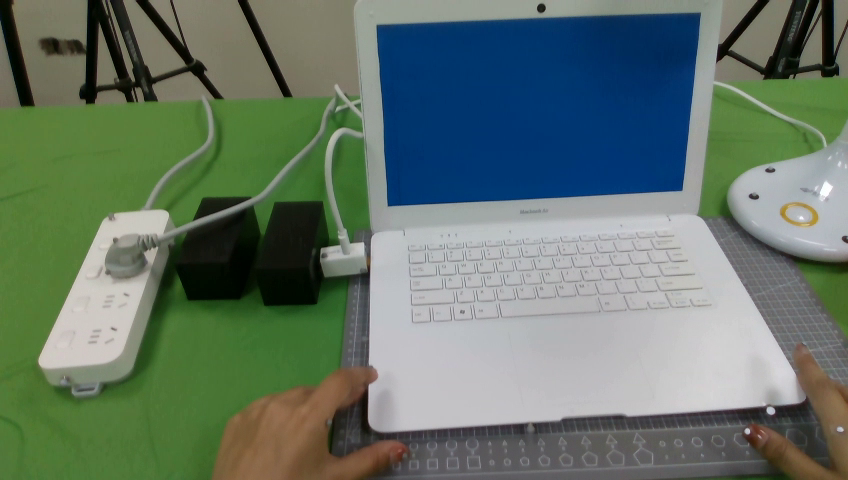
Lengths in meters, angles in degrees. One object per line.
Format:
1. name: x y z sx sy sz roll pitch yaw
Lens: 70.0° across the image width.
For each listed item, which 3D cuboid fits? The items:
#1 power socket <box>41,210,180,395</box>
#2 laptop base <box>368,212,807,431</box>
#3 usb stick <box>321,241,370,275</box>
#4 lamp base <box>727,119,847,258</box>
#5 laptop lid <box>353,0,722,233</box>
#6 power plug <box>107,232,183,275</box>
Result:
1. power socket: -0.293 0.046 0.584 0.072 0.033 0.224 -4 41 -4
2. laptop base: 0.126 0.063 0.562 0.354 0.023 0.233 -3 44 -2
3. usb stick: -0.071 0.018 0.603 0.059 0.027 0.021 -4 41 -2
4. lamp base: 0.420 -0.101 0.617 0.159 0.182 0.179 25 44 28
5. laptop lid: 0.113 -0.124 0.608 0.357 0.243 0.013 -5 21 -2
6. power plug: -0.266 0.020 0.578 0.072 0.053 0.035 3 41 5
